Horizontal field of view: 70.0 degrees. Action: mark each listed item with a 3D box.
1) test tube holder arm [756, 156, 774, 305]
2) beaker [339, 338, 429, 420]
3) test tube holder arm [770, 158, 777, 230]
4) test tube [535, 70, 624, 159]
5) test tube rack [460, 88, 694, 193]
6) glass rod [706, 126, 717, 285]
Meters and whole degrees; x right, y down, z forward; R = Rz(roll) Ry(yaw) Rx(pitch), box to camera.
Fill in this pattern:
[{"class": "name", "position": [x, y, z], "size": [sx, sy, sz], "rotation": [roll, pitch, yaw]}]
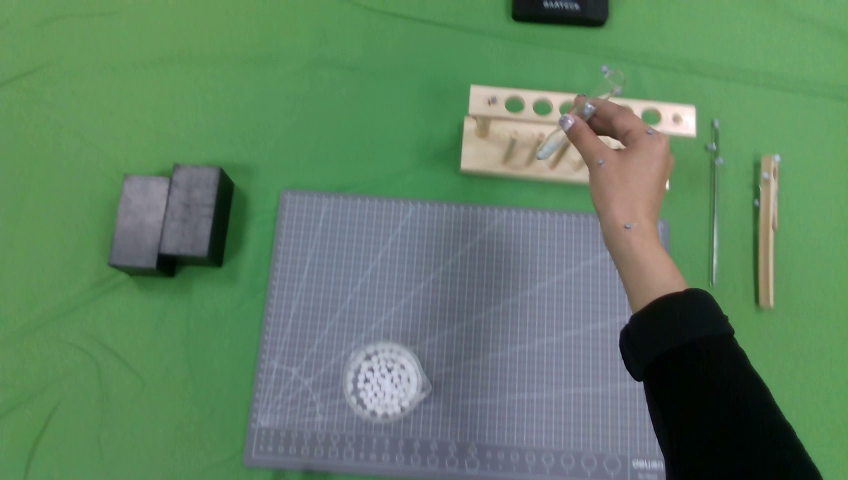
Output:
[{"class": "test tube holder arm", "position": [0.393, -0.013, 0.699], "size": [0.013, 0.015, 0.177], "rotation": [18, 74, -30]}, {"class": "beaker", "position": [-0.037, 0.140, 0.603], "size": [0.084, 0.100, 0.073], "rotation": [9, 75, 0]}, {"class": "test tube holder arm", "position": [0.406, -0.054, 0.712], "size": [0.010, 0.015, 0.087], "rotation": [19, 74, -29]}, {"class": "test tube", "position": [0.135, -0.107, 0.545], "size": [0.017, 0.150, 0.017], "rotation": [4, 74, -12]}, {"class": "test tube rack", "position": [0.166, -0.110, 0.684], "size": [0.242, 0.085, 0.066], "rotation": [5, 75, 0]}, {"class": "glass rod", "position": [0.338, -0.044, 0.712], "size": [0.008, 0.008, 0.198], "rotation": [9, 75, 0]}]
